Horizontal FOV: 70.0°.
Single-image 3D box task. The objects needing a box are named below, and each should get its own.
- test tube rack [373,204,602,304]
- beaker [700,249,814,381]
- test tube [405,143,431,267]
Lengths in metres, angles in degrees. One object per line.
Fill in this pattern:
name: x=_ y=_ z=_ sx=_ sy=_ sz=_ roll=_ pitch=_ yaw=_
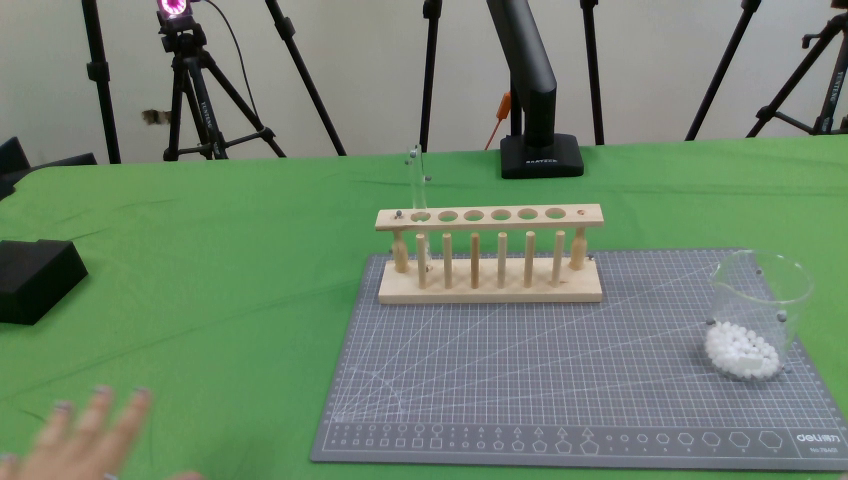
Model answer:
test tube rack: x=0.068 y=0.016 z=0.665 sx=0.242 sy=0.086 sz=0.066 roll=-1 pitch=35 yaw=6
beaker: x=0.290 y=0.070 z=0.543 sx=0.084 sy=0.101 sz=0.073 roll=-1 pitch=35 yaw=8
test tube: x=-0.006 y=-0.034 z=0.661 sx=0.017 sy=0.151 sz=0.017 roll=-4 pitch=32 yaw=3
